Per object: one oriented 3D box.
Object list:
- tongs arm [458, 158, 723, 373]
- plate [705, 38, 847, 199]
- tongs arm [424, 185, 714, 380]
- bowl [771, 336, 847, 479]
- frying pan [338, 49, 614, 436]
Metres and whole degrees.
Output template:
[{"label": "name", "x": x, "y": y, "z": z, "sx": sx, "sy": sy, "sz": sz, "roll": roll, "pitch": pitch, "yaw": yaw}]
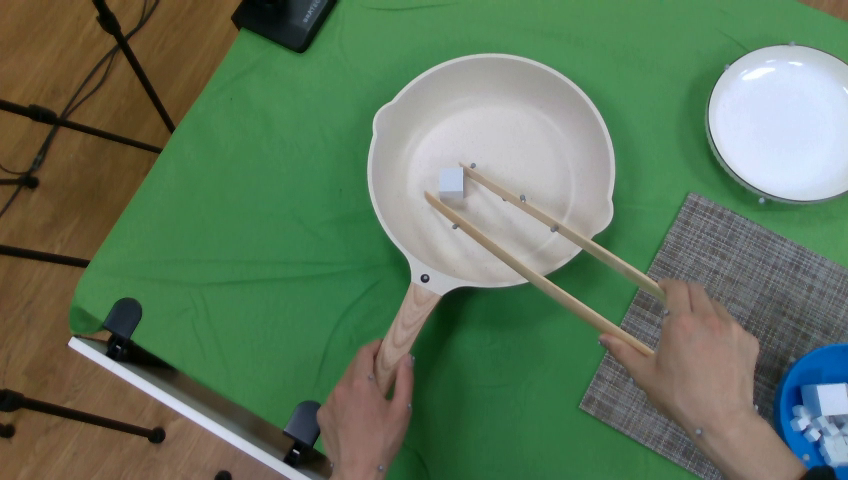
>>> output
[{"label": "tongs arm", "x": 0.147, "y": 0.005, "z": 0.641, "sx": 0.051, "sy": 0.027, "sz": 0.380, "roll": -42, "pitch": 49, "yaw": -13}, {"label": "plate", "x": 0.451, "y": -0.147, "z": 0.748, "sx": 0.207, "sy": 0.039, "sz": 0.206, "roll": -1, "pitch": 77, "yaw": 4}, {"label": "tongs arm", "x": 0.121, "y": 0.028, "z": 0.634, "sx": 0.028, "sy": 0.028, "sz": 0.383, "roll": -39, "pitch": 48, "yaw": -15}, {"label": "bowl", "x": 0.439, "y": 0.181, "z": 0.650, "sx": 0.151, "sy": 0.077, "sz": 0.150, "roll": -1, "pitch": 78, "yaw": 4}, {"label": "frying pan", "x": 0.029, "y": 0.000, "z": 0.710, "sx": 0.306, "sy": 0.103, "sz": 0.486, "roll": 27, "pitch": 72, "yaw": 10}]
